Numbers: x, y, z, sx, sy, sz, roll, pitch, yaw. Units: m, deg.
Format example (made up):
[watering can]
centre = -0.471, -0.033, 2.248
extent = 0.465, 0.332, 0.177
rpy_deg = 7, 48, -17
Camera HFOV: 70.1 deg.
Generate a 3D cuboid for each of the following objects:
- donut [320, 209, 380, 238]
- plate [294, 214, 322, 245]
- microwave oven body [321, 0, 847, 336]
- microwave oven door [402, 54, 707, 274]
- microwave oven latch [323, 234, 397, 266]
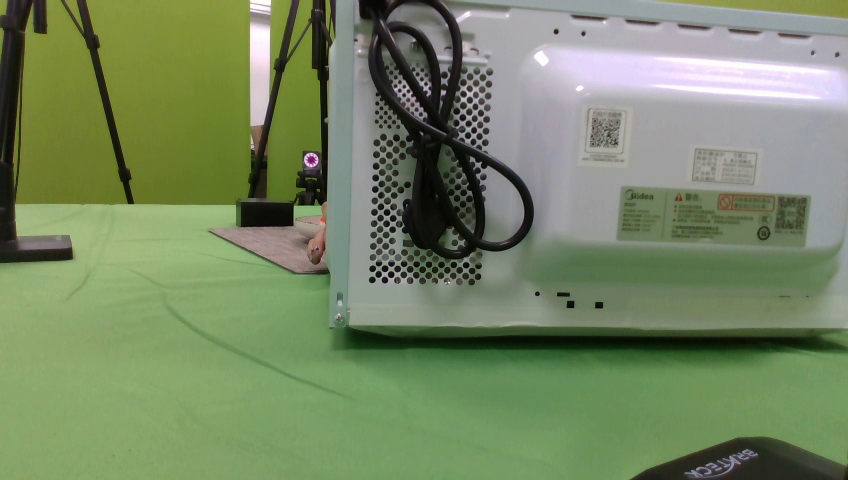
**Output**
[donut]
centre = -0.121, -0.027, 0.995
extent = 0.099, 0.048, 0.099
rpy_deg = 2, 5, 0
[plate]
centre = -0.108, -0.015, 0.996
extent = 0.209, 0.038, 0.209
rpy_deg = 2, 7, 0
[microwave oven body]
centre = 0.133, -0.062, 0.567
extent = 0.443, 0.260, 0.325
rpy_deg = 2, 7, -8
[microwave oven door]
centre = 0.157, -0.085, 0.717
extent = 0.357, 0.243, 0.039
rpy_deg = 1, 8, -8
[microwave oven latch]
centre = -0.073, 0.011, 0.688
extent = 0.079, 0.029, 0.030
rpy_deg = 5, 6, 18
